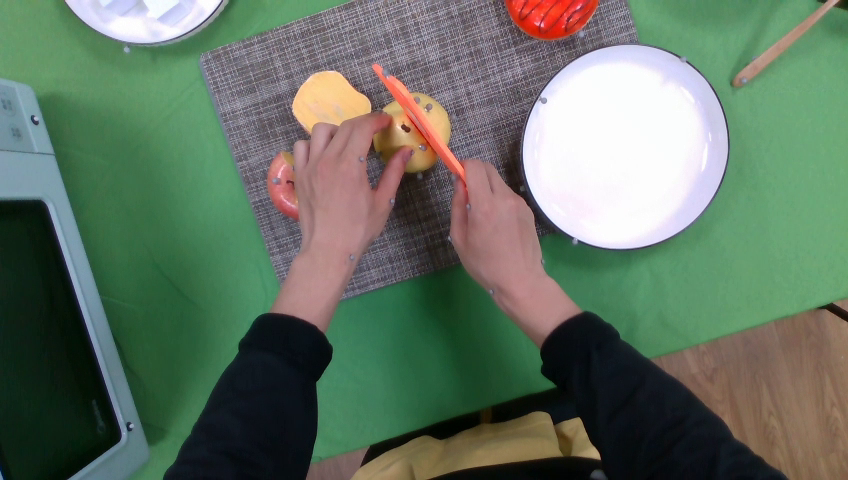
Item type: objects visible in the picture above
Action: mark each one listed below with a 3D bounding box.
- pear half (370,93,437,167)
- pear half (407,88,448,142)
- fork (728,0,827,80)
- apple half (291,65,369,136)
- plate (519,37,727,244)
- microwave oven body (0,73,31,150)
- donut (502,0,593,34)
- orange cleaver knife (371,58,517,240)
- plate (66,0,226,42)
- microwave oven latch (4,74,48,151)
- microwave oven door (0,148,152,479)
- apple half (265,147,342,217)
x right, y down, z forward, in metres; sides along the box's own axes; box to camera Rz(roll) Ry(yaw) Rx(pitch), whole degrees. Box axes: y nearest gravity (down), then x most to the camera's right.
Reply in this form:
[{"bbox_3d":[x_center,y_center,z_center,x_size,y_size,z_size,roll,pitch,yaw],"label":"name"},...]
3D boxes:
[{"bbox_3d":[-0.027,-0.106,0.603,0.056,0.110,0.076,-39,88,6],"label":"pear half"},{"bbox_3d":[0.005,-0.128,0.611,0.031,0.088,0.070,-38,86,-1],"label":"pear half"},{"bbox_3d":[0.384,-0.233,0.584,0.028,0.018,0.207,41,117,-8],"label":"fork"},{"bbox_3d":[-0.101,-0.139,0.638,0.081,0.033,0.081,3,74,-8],"label":"apple half"},{"bbox_3d":[0.202,-0.100,0.628,0.209,0.038,0.209,0,96,3],"label":"plate"},{"bbox_3d":[-0.530,0.085,0.573,0.326,0.260,0.442,-15,96,4],"label":"microwave oven body"},{"bbox_3d":[0.125,-0.259,0.612,0.099,0.048,0.099,1,97,6],"label":"donut"},{"bbox_3d":[0.021,-0.082,0.570,0.012,0.076,0.213,-40,117,2],"label":"orange cleaver knife"},{"bbox_3d":[-0.288,-0.311,0.634,0.207,0.039,0.208,0,96,3],"label":"plate"},{"bbox_3d":[-0.430,-0.133,0.641,0.030,0.029,0.079,-14,96,4],"label":"microwave oven latch"},{"bbox_3d":[-0.379,0.088,0.561,0.039,0.243,0.356,-16,95,4],"label":"microwave oven door"},{"bbox_3d":[-0.131,-0.053,0.632,0.081,0.074,0.053,36,101,-5],"label":"apple half"}]
